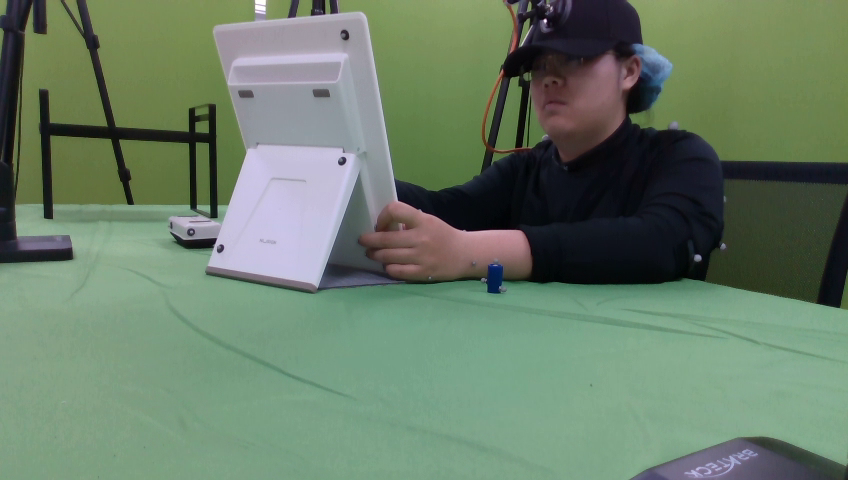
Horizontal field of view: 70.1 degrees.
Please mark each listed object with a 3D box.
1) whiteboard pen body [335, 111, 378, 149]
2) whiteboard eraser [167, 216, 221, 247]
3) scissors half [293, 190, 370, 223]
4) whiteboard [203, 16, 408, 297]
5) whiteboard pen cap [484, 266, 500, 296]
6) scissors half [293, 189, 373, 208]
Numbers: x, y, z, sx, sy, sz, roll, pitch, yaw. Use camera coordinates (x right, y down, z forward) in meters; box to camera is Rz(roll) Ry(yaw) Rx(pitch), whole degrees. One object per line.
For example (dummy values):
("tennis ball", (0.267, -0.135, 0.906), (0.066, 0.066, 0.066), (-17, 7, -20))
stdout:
("whiteboard pen body", (-0.087, -0.141, 0.777), (0.017, 0.017, 0.141), (5, 28, 14))
("whiteboard eraser", (-0.350, -0.013, 0.920), (0.056, 0.042, 0.112), (0, 7, -35))
("scissors half", (-0.205, -0.077, 1.338), (0.175, 0.040, 0.013), (22, 12, -8))
("whiteboard", (-0.166, -0.072, 0.669), (0.216, 0.305, 0.144), (8, 30, 30))
("whiteboard pen cap", (0.075, 0.046, 0.668), (0.018, 0.033, 0.018), (3, 6, 0))
("scissors half", (-0.201, -0.096, 1.332), (0.175, 0.040, 0.013), (5, 19, -4))
